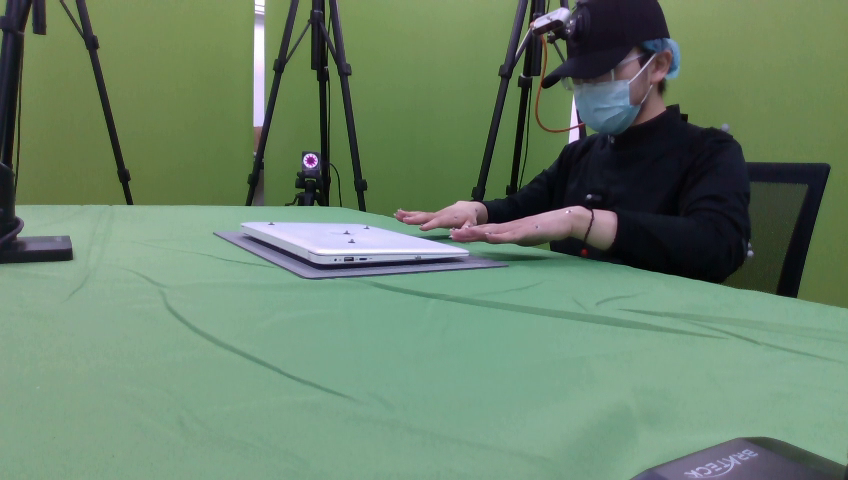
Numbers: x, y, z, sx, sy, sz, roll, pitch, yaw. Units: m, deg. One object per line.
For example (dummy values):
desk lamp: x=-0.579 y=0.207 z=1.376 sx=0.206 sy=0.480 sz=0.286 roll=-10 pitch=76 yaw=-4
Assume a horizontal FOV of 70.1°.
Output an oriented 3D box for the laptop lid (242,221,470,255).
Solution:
laptop lid: x=-0.121 y=-0.007 z=0.936 sx=0.243 sy=0.013 sz=0.355 roll=1 pitch=7 yaw=-31

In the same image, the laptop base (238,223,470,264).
laptop base: x=-0.123 y=0.005 z=0.936 sx=0.237 sy=0.023 sz=0.352 roll=2 pitch=6 yaw=-33
